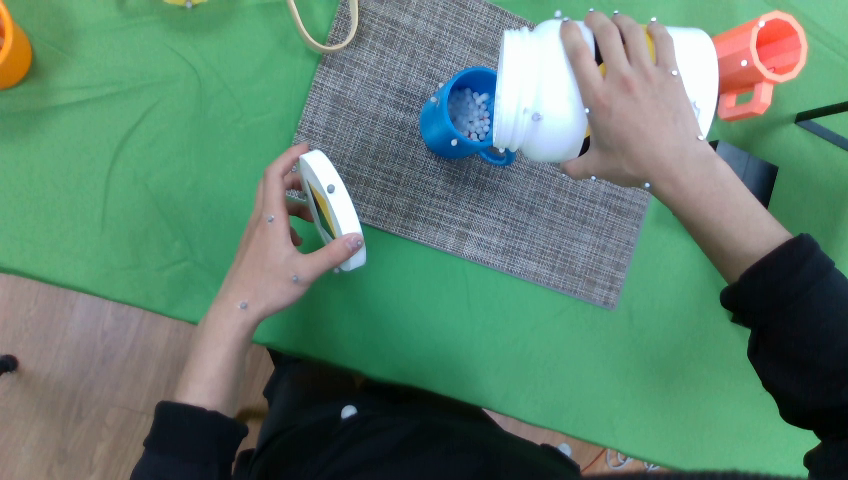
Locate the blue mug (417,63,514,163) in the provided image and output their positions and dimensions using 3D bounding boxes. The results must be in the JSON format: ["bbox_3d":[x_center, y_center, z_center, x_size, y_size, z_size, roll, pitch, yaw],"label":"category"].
[{"bbox_3d":[0.054,-0.130,0.678,0.117,0.105,0.082,45,80,-11],"label":"blue mug"}]

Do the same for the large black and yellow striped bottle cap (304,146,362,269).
[{"bbox_3d":[-0.085,-0.029,0.558,0.019,0.114,0.115,-18,96,-17],"label":"large black and yellow striped bottle cap"}]

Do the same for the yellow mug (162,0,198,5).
[{"bbox_3d":[-0.268,-0.292,0.612,0.131,0.064,0.100,-34,100,-11],"label":"yellow mug"}]

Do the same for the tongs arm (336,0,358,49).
[{"bbox_3d":[-0.096,-0.408,0.651,0.028,0.027,0.388,-7,100,-23],"label":"tongs arm"}]

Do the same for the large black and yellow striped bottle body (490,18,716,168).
[{"bbox_3d":[0.159,-0.139,0.573,0.184,0.131,0.130,4,90,1],"label":"large black and yellow striped bottle body"}]

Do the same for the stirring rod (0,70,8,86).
[{"bbox_3d":[-0.449,-0.192,0.526,0.006,0.178,0.014,9,70,28],"label":"stirring rod"}]

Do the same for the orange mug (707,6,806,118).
[{"bbox_3d":[0.415,-0.224,0.779,0.084,0.100,0.126,9,85,-14],"label":"orange mug"}]

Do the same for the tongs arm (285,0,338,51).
[{"bbox_3d":[-0.175,-0.387,0.628,0.051,0.026,0.386,-21,104,-17],"label":"tongs arm"}]

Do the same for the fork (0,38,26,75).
[{"bbox_3d":[-0.450,-0.212,0.522,0.028,0.018,0.209,-60,147,-7],"label":"fork"}]
